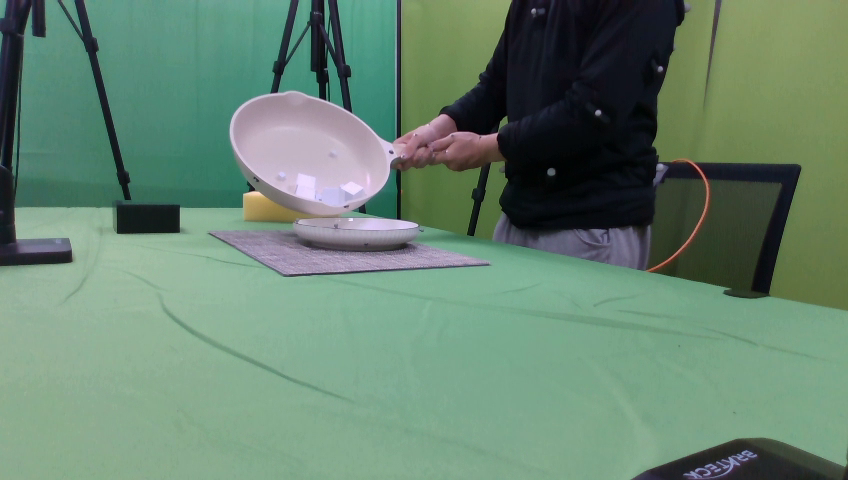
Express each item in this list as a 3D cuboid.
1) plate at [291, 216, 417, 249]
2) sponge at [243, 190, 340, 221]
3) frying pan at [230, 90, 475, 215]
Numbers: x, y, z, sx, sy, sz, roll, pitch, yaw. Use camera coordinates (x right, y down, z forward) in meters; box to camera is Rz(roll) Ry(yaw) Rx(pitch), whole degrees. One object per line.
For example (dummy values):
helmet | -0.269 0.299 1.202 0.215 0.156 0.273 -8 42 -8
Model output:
plate | -0.115 -0.013 1.002 0.208 0.039 0.207 2 7 0
sponge | -0.299 -0.077 1.388 0.207 0.061 0.118 2 8 -8
frying pan | -0.117 -0.167 1.160 0.490 0.102 0.305 -7 55 -24
